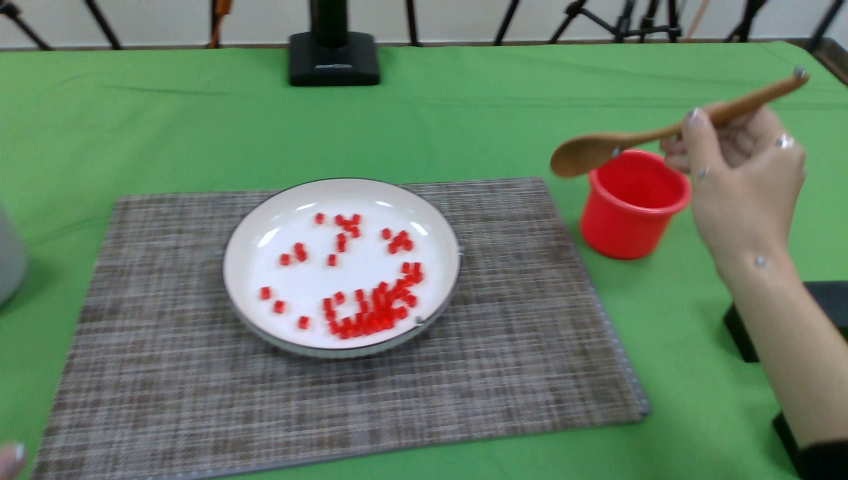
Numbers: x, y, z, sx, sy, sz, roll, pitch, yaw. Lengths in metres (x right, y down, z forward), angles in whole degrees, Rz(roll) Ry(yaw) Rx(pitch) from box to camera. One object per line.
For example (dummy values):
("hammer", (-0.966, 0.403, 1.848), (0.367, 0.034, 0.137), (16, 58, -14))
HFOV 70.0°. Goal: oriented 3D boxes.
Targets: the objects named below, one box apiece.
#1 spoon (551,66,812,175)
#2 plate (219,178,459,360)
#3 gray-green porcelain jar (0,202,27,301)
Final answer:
("spoon", (0.181, -0.085, 0.454), (0.193, 0.042, 0.021), (-13, 46, 43))
("plate", (-0.074, 0.024, 0.545), (0.208, 0.039, 0.205), (3, 45, -3))
("gray-green porcelain jar", (-0.393, -0.005, 0.482), (0.106, 0.127, 0.105), (3, 45, -3))
